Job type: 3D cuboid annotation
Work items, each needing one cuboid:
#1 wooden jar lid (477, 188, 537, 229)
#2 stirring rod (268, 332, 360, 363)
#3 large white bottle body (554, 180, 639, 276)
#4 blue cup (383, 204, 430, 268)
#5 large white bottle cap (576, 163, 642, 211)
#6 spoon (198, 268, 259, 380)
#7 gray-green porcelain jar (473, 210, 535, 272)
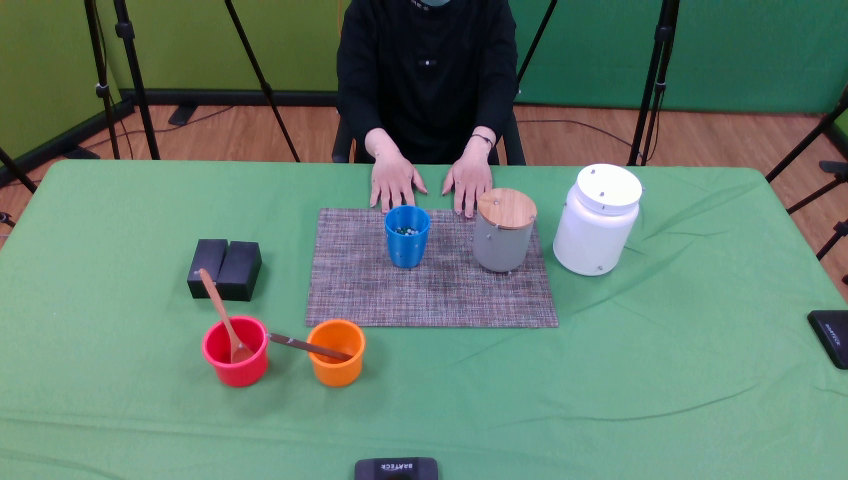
[{"bbox_3d":[0.149,-0.054,1.094,0.108,0.021,0.107,4,45,-4],"label":"wooden jar lid"},{"bbox_3d":[-0.167,0.169,0.941,0.177,0.006,0.014,26,27,-41],"label":"stirring rod"},{"bbox_3d":[0.326,-0.036,1.141,0.131,0.185,0.130,2,46,-2],"label":"large white bottle body"},{"bbox_3d":[-0.034,-0.002,1.135,0.093,0.101,0.092,2,46,-2],"label":"blue cup"},{"bbox_3d":[0.330,-0.096,1.081,0.115,0.018,0.114,2,46,-2],"label":"large white bottle cap"},{"bbox_3d":[-0.312,0.132,0.962,0.041,0.021,0.194,-24,96,-21],"label":"spoon"},{"bbox_3d":[0.147,-0.011,1.140,0.106,0.127,0.105,2,46,-2],"label":"gray-green porcelain jar"}]
